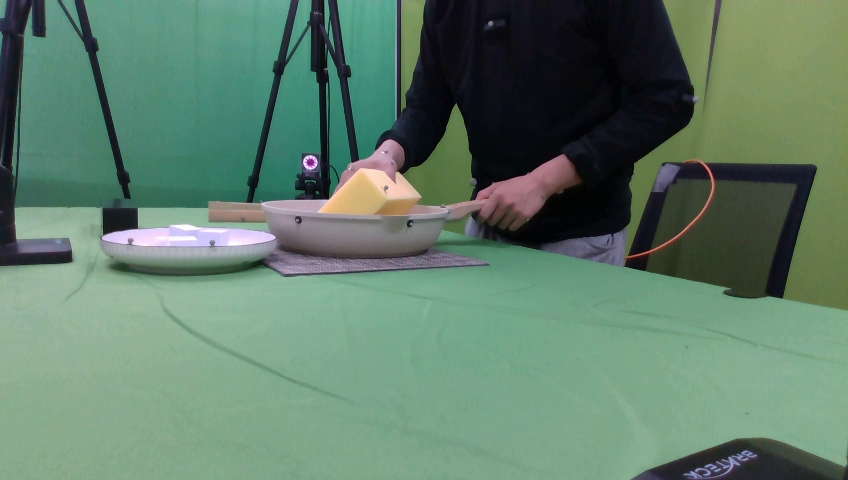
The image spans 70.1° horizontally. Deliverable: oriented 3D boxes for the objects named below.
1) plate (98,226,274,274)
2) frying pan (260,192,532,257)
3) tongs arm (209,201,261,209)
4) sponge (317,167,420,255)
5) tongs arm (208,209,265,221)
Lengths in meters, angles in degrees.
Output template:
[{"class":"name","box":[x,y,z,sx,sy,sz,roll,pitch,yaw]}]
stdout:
[{"class":"plate","box":[-0.301,0.012,0.778,0.208,0.039,0.207,3,7,0]},{"class":"frying pan","box":[-0.017,-0.043,1.006,0.490,0.102,0.305,-11,13,-26]},{"class":"tongs arm","box":[-0.306,-0.071,1.430,0.386,0.026,0.050,1,8,-15]},{"class":"sponge","box":[-0.088,-0.047,0.927,0.061,0.118,0.207,47,12,5]},{"class":"tongs arm","box":[-0.280,-0.057,1.355,0.389,0.028,0.028,-2,5,-28]}]
